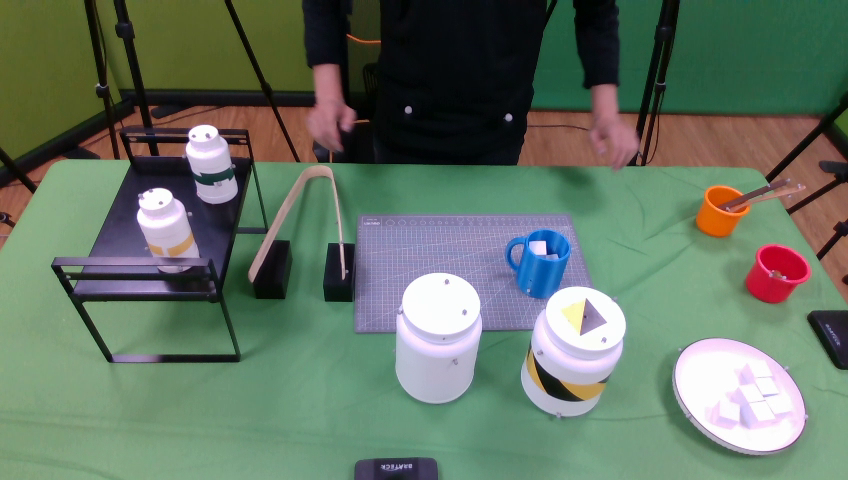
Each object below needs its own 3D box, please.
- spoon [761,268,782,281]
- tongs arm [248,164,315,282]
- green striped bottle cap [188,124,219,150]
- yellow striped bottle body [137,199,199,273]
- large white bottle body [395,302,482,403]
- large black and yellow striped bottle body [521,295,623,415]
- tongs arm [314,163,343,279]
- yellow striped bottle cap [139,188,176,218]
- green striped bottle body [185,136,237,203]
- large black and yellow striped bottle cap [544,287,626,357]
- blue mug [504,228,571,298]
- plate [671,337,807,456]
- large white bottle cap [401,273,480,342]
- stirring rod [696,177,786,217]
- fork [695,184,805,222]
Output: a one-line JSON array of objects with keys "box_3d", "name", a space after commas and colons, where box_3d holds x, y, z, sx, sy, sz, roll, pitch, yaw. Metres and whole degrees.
[{"box_3d": [0.638, 0.060, 1.105, 0.041, 0.021, 0.194, 38, 11, 24], "name": "spoon"}, {"box_3d": [-0.270, -0.047, 1.166, 0.028, 0.028, 0.385, -1, 34, 7], "name": "tongs arm"}, {"box_3d": [-0.339, -0.158, 0.931, 0.044, 0.020, 0.044, 3, 46, -3], "name": "green striped bottle cap"}, {"box_3d": [-0.366, -0.014, 0.863, 0.063, 0.121, 0.062, 2, 46, -2], "name": "yellow striped bottle body"}, {"box_3d": [0.020, 0.153, 0.939, 0.131, 0.185, 0.130, 2, 46, -2], "name": "large white bottle body"}, {"box_3d": [0.228, 0.173, 0.938, 0.131, 0.185, 0.130, 2, 47, -2], "name": "large black and yellow striped bottle body"}, {"box_3d": [-0.188, -0.049, 1.170, 0.051, 0.026, 0.382, -6, 35, -6], "name": "tongs arm"}, {"box_3d": [-0.363, -0.051, 0.826, 0.044, 0.019, 0.044, 1, 47, -1], "name": "yellow striped bottle cap"}, {"box_3d": [-0.341, -0.121, 0.969, 0.063, 0.120, 0.063, 2, 46, -2], "name": "green striped bottle body"}, {"box_3d": [0.232, 0.116, 0.876, 0.115, 0.019, 0.114, 2, 46, -1], "name": "large black and yellow striped bottle cap"}, {"box_3d": [0.202, 0.036, 1.116, 0.116, 0.106, 0.082, 22, 49, 16], "name": "blue mug"}, {"box_3d": [0.503, 0.254, 0.984, 0.208, 0.039, 0.206, 2, 46, -2], "name": "plate"}, {"box_3d": [0.024, 0.095, 0.878, 0.115, 0.018, 0.114, 2, 47, -2], "name": "large white bottle cap"}, {"box_3d": [0.647, -0.087, 1.244, 0.176, 0.006, 0.014, -26, 51, 29], "name": "stirring rod"}, {"box_3d": [0.657, -0.074, 1.229, 0.207, 0.019, 0.028, -24, 33, 36], "name": "fork"}]
